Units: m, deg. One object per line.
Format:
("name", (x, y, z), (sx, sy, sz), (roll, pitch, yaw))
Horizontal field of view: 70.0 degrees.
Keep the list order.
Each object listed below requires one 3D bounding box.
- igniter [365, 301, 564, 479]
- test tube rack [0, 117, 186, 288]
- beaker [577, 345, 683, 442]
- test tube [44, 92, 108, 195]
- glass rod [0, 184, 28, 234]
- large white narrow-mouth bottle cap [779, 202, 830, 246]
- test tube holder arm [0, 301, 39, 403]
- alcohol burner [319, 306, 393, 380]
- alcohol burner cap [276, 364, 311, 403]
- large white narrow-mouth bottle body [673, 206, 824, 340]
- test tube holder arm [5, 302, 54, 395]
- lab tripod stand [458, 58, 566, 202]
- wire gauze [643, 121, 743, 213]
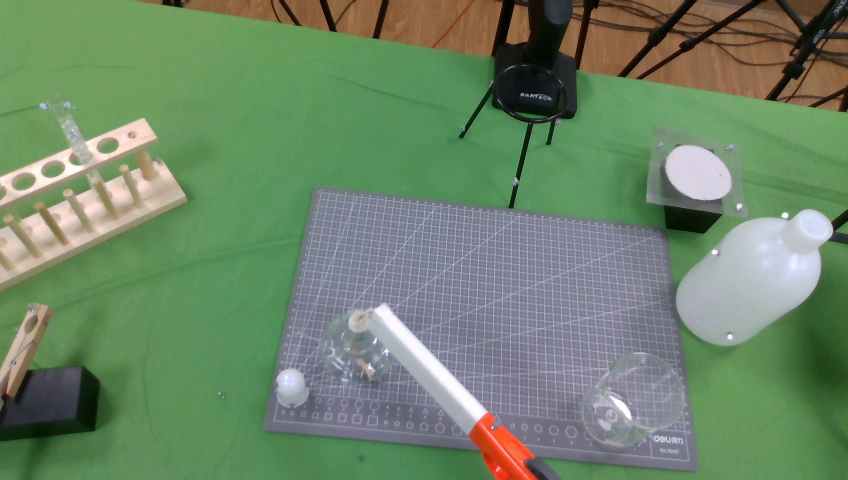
("igniter", (0.050, 0.153, 0.487), (0.274, 0.057, 0.025), (43, 50, 19))
("test tube rack", (-0.395, -0.036, 0.654), (0.242, 0.086, 0.066), (-31, 68, -22))
("beaker", (0.198, 0.158, 0.608), (0.084, 0.101, 0.073), (4, 59, -4))
("test tube", (-0.361, -0.095, 0.634), (0.017, 0.151, 0.017), (4, 57, -6))
("glass rod", (-0.427, -0.068, 0.592), (0.008, 0.201, 0.008), (5, 51, -6))
("large white narrow-mouth bottle cap", (0.360, -0.015, 0.575), (0.038, 0.024, 0.037), (3, 60, -5))
("test tube holder arm", (-0.381, 0.137, 0.541), (0.013, 0.015, 0.177), (9, 59, -2))
("alcohol burner", (-0.066, 0.096, 0.602), (0.078, 0.120, 0.077), (4, 59, -7))
("alcohol burner cap", (-0.133, 0.143, 0.608), (0.034, 0.048, 0.033), (2, 61, -4))
("large white narrow-mouth bottle body", (0.352, 0.029, 0.648), (0.102, 0.196, 0.101), (3, 60, -4))
("test tube holder arm", (-0.370, 0.100, 0.565), (0.010, 0.015, 0.087), (10, 59, -1))
("lab tripod stand", (0.115, -0.142, 0.751), (0.149, 0.132, 0.147), (4, 61, -7))
("wire gauze", (0.340, -0.092, 0.767), (0.121, 0.011, 0.124), (13, 59, 1))
